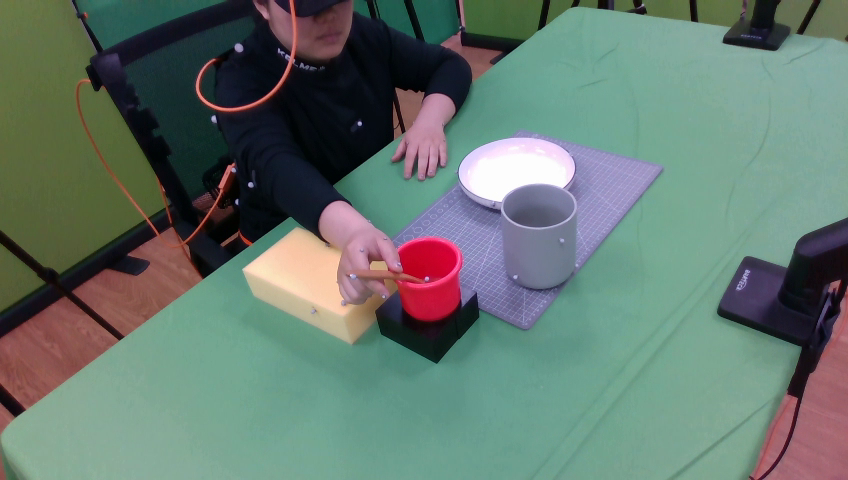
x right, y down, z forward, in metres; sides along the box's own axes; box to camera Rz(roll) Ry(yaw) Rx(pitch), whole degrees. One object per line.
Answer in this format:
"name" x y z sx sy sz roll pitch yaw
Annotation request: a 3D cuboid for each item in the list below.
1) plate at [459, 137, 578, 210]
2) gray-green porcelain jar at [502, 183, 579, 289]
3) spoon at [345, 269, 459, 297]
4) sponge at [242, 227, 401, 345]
"plate" 0.166 -0.113 1.068 0.207 0.039 0.206 -5 40 5
"gray-green porcelain jar" 0.167 -0.001 0.866 0.106 0.127 0.105 -5 40 5
"spoon" -0.023 0.050 0.752 0.041 0.195 0.021 43 107 39
"sponge" -0.154 0.063 0.907 0.205 0.061 0.118 19 48 29
